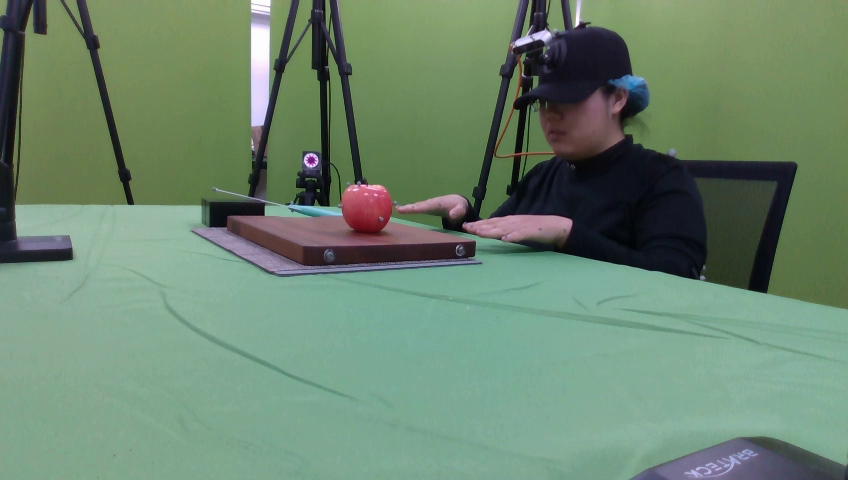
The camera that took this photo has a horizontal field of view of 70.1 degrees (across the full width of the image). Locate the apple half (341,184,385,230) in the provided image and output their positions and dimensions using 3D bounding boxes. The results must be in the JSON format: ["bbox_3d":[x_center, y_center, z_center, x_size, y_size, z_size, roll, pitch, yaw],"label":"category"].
[{"bbox_3d":[-0.103,-0.055,0.968,0.082,0.081,0.032,-2,13,-32],"label":"apple half"}]

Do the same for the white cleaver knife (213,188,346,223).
[{"bbox_3d":[-0.280,-0.067,1.226,0.288,0.021,0.065,11,6,-29],"label":"white cleaver knife"}]

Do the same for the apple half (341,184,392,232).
[{"bbox_3d":[-0.084,-0.048,0.936,0.081,0.074,0.053,1,11,-32],"label":"apple half"}]
